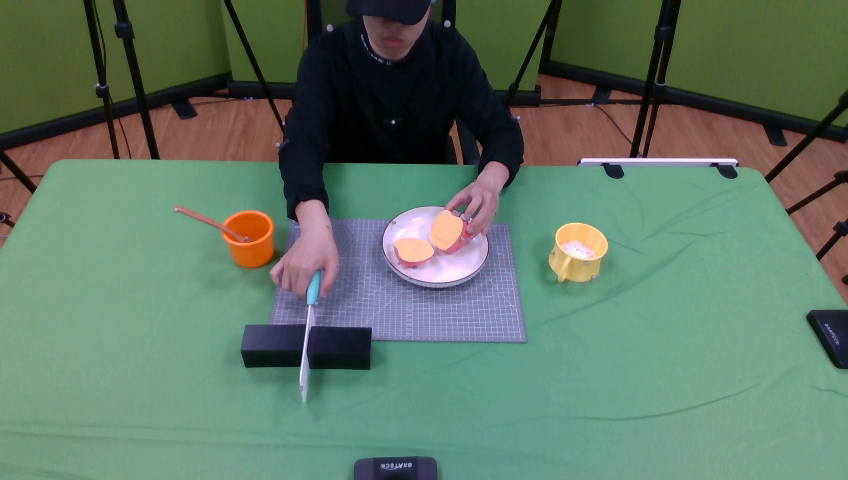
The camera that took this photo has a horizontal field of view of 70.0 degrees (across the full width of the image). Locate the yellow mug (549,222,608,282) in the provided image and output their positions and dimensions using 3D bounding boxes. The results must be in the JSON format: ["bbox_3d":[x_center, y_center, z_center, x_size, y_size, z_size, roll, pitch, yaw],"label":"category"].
[{"bbox_3d":[0.287,0.031,1.159,0.099,0.064,0.130,27,51,21],"label":"yellow mug"}]

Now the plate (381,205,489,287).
[{"bbox_3d":[0.021,0.015,1.170,0.209,0.038,0.208,2,46,-2],"label":"plate"}]

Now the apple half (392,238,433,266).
[{"bbox_3d":[-0.023,0.028,1.147,0.081,0.033,0.081,8,33,-5],"label":"apple half"}]

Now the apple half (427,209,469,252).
[{"bbox_3d":[0.052,-0.014,1.167,0.080,0.053,0.074,29,92,40],"label":"apple half"}]

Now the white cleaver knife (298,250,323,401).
[{"bbox_3d":[-0.195,0.132,1.020,0.021,0.066,0.284,4,47,-5],"label":"white cleaver knife"}]

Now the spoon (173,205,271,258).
[{"bbox_3d":[-0.362,-0.017,1.098,0.021,0.195,0.041,-31,43,28],"label":"spoon"}]
